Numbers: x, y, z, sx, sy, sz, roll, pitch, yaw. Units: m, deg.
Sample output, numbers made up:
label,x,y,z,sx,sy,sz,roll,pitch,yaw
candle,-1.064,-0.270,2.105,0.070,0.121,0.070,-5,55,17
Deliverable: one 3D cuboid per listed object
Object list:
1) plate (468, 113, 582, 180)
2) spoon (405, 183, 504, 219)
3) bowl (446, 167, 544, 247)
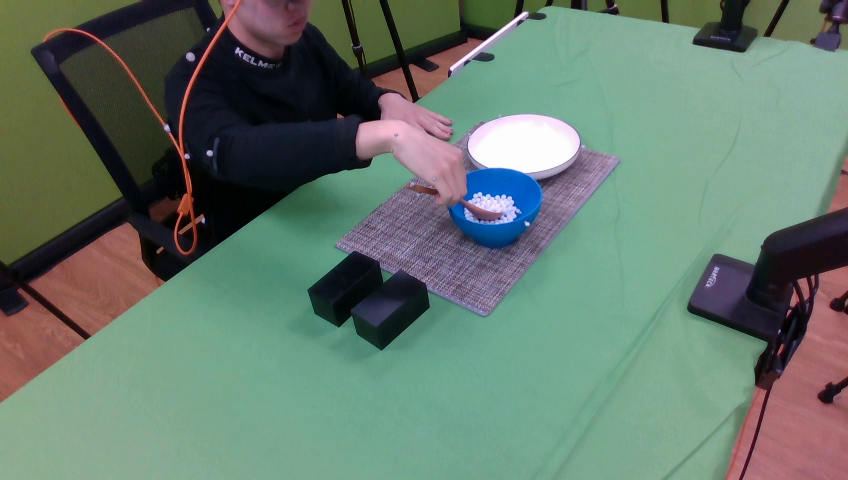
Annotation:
label,x,y,z,sx,sy,sz,roll,pitch,yaw
plate,0.186,-0.169,1.122,0.207,0.039,0.206,-4,40,4
spoon,0.048,-0.059,0.914,0.041,0.195,0.021,-1,75,52
bowl,0.111,-0.042,0.952,0.151,0.077,0.150,-3,40,3
